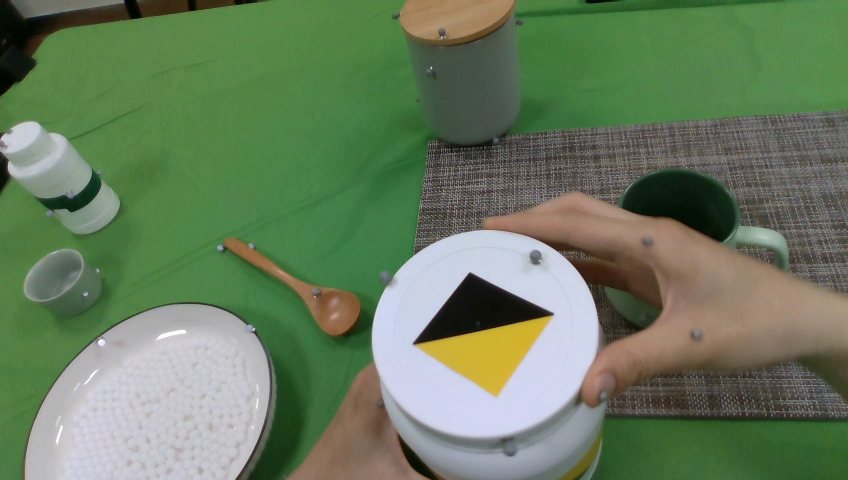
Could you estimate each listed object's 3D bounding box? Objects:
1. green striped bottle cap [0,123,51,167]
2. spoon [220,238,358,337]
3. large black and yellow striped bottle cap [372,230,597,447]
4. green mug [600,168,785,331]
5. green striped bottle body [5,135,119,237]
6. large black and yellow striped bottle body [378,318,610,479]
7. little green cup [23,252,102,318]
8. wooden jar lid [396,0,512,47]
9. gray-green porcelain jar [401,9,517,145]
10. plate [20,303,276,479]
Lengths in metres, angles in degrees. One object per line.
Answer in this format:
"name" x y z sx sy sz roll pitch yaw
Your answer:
"green striped bottle cap" -0.392 -0.093 0.594 0.044 0.020 0.044 -4 55 6
"spoon" -0.132 0.036 0.567 0.192 0.022 0.041 28 81 28
"large black and yellow striped bottle cap" 0.030 0.046 0.310 0.115 0.019 0.114 -6 58 10
"green mug" 0.198 0.011 0.453 0.125 0.106 0.092 6 55 17
"green striped bottle body" -0.382 -0.062 0.634 0.063 0.120 0.062 -6 53 9
"large black and yellow striped bottle body" 0.046 0.093 0.380 0.130 0.186 0.129 -6 57 9
"little green cup" -0.356 0.046 0.600 0.061 0.039 0.061 -7 52 9
"wooden jar lid" 0.028 -0.209 0.562 0.108 0.021 0.107 -8 51 11
"gray-green porcelain jar" 0.040 -0.168 0.610 0.106 0.128 0.105 -6 49 8
"plate" -0.217 0.149 0.494 0.209 0.038 0.207 -6 53 8
